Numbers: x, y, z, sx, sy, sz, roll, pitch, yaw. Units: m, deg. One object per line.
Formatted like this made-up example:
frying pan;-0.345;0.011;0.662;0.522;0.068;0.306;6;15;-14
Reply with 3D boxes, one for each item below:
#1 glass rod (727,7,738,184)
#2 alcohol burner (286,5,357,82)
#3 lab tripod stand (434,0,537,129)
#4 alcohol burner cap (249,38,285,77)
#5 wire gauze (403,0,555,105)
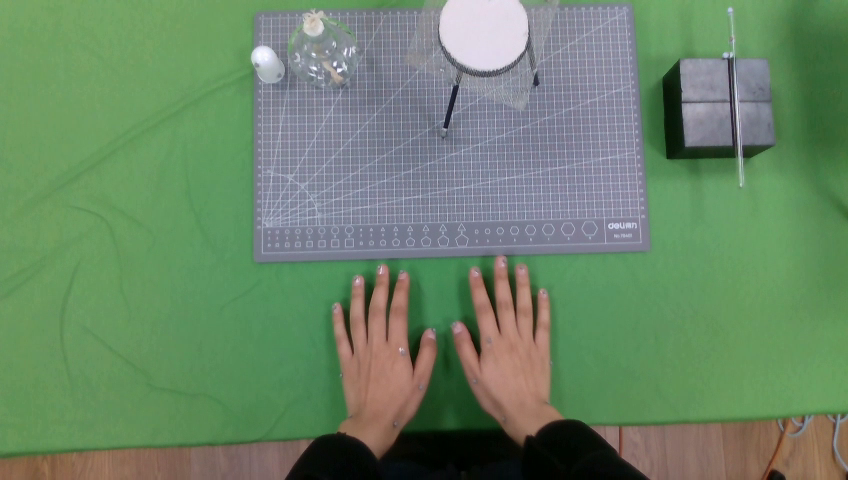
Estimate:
glass rod;0.336;-0.159;0.660;0.008;0.008;0.199;2;84;0
alcohol burner;-0.113;-0.218;0.653;0.078;0.119;0.077;0;83;-2
lab tripod stand;0.059;-0.199;0.643;0.148;0.132;0.148;0;82;-1
alcohol burner cap;-0.179;-0.209;0.686;0.034;0.048;0.034;0;82;3
wire gauze;0.056;-0.206;0.577;0.125;0.011;0.121;20;84;1
